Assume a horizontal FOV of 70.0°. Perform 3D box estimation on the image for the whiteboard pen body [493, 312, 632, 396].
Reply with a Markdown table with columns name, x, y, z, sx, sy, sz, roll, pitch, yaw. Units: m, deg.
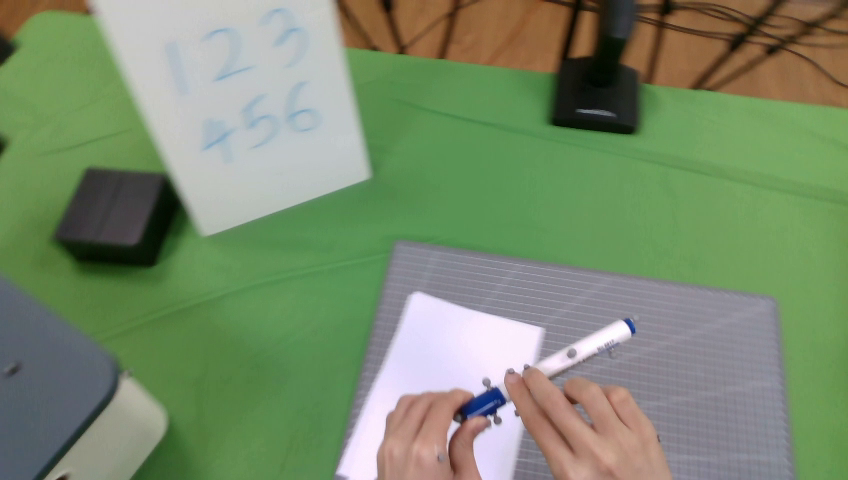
| name | x | y | z | sx | sy | sz | roll | pitch | yaw |
| --- | --- | --- | --- | --- | --- | --- | --- | --- | --- |
| whiteboard pen body | 0.094 | 0.090 | 0.451 | 0.141 | 0.017 | 0.017 | -25 | 63 | -11 |

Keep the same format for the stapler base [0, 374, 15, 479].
| name | x | y | z | sx | sy | sz | roll | pitch | yaw |
| --- | --- | --- | --- | --- | --- | --- | --- | --- | --- |
| stapler base | -0.433 | 0.195 | 0.594 | 0.041 | 0.024 | 0.129 | -17 | 64 | 10 |

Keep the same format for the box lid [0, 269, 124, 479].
| name | x | y | z | sx | sy | sz | roll | pitch | yaw |
| --- | --- | --- | --- | --- | --- | --- | --- | --- | --- |
| box lid | -0.460 | 0.113 | 0.486 | 0.370 | 0.015 | 0.262 | 28 | 64 | 14 |

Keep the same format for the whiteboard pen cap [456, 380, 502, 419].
| name | x | y | z | sx | sy | sz | roll | pitch | yaw |
| --- | --- | --- | --- | --- | --- | --- | --- | --- | --- |
| whiteboard pen cap | 0.041 | 0.115 | 0.438 | 0.033 | 0.018 | 0.018 | -25 | 62 | -11 |

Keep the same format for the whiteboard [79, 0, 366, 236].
| name | x | y | z | sx | sy | sz | roll | pitch | yaw |
| --- | --- | --- | --- | --- | --- | --- | --- | --- | --- |
| whiteboard | -0.219 | -0.195 | 0.703 | 0.217 | 0.308 | 0.142 | -21 | 43 | -12 |

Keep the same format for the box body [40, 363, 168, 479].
| name | x | y | z | sx | sy | sz | roll | pitch | yaw |
| --- | --- | --- | --- | --- | --- | --- | --- | --- | --- |
| box body | -0.458 | 0.151 | 0.549 | 0.362 | 0.161 | 0.253 | 27 | 64 | 15 |

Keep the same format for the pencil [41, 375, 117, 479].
| name | x | y | z | sx | sy | sz | roll | pitch | yaw |
| --- | --- | --- | --- | --- | --- | --- | --- | --- | --- |
| pencil | -0.358 | 0.216 | 0.590 | 0.012 | 0.012 | 0.192 | 12 | 49 | 7 |
